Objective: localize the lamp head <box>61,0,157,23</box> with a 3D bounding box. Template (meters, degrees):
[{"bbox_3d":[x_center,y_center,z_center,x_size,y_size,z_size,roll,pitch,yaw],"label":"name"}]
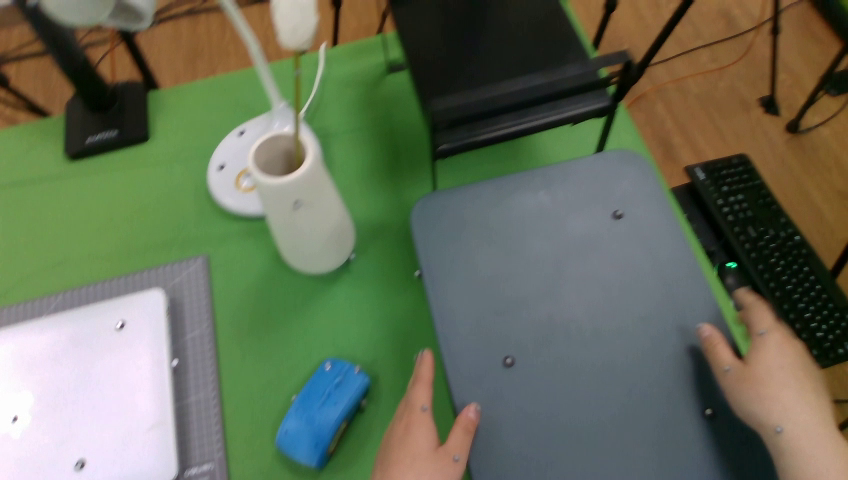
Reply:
[{"bbox_3d":[-0.264,-0.255,0.496,0.112,0.113,0.122,13,81,10],"label":"lamp head"}]

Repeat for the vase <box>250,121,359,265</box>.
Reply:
[{"bbox_3d":[-0.138,-0.050,0.708,0.098,0.202,0.097,-2,61,5],"label":"vase"}]

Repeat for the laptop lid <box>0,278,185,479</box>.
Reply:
[{"bbox_3d":[-0.457,0.188,0.691,0.357,0.013,0.239,-13,65,-3],"label":"laptop lid"}]

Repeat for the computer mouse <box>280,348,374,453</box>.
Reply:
[{"bbox_3d":[-0.108,0.176,0.678,0.062,0.041,0.116,23,61,18],"label":"computer mouse"}]

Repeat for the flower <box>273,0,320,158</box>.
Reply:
[{"bbox_3d":[-0.130,-0.100,0.640,0.038,0.364,0.043,-19,52,-26],"label":"flower"}]

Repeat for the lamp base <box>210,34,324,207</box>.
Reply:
[{"bbox_3d":[-0.219,-0.162,0.783,0.160,0.182,0.178,16,62,12],"label":"lamp base"}]

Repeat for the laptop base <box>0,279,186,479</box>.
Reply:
[{"bbox_3d":[-0.457,0.191,0.703,0.354,0.023,0.233,-15,66,-4],"label":"laptop base"}]

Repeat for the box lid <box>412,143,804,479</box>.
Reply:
[{"bbox_3d":[0.147,0.073,0.561,0.263,0.015,0.368,-12,62,-3],"label":"box lid"}]

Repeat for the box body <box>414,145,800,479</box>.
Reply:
[{"bbox_3d":[0.154,0.110,0.626,0.254,0.162,0.360,-13,62,-3],"label":"box body"}]
